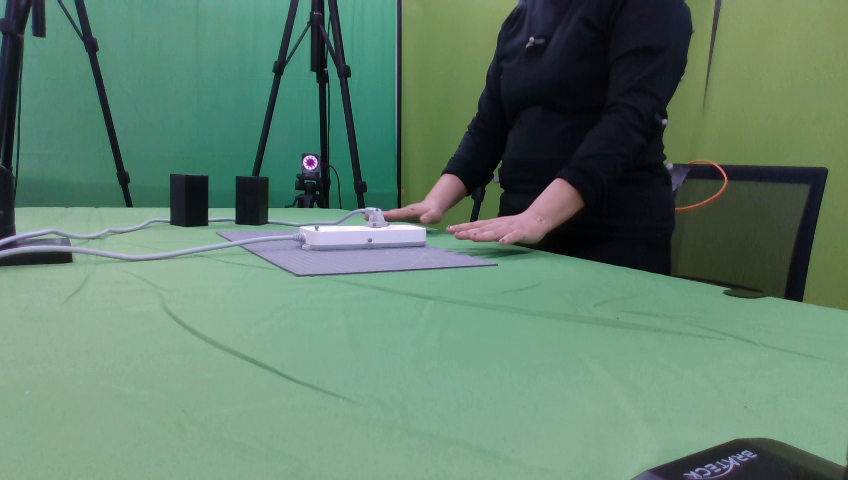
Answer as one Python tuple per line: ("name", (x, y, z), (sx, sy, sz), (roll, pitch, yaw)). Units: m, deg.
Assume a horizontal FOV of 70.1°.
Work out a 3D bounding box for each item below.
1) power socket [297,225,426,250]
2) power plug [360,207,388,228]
("power socket", (-0.099, -0.006, 0.992), (0.228, 0.032, 0.072), (-2, 8, -31))
("power plug", (-0.085, -0.029, 1.032), (0.035, 0.052, 0.072), (1, 5, -20))
